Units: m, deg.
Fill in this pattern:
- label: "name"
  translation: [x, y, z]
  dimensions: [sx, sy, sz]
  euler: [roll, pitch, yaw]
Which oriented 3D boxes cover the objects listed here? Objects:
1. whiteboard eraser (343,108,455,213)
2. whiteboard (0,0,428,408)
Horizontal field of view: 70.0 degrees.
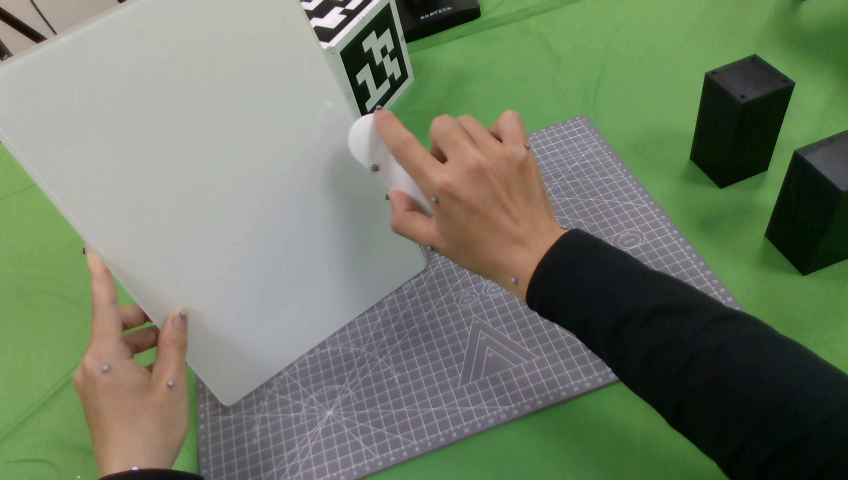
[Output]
- label: "whiteboard eraser"
  translation: [-0.018, -0.060, 0.466]
  dimensions: [0.041, 0.102, 0.018]
  euler: [-50, 22, 1]
- label: "whiteboard"
  translation: [-0.170, -0.057, 0.518]
  dimensions: [0.217, 0.308, 0.142]
  euler: [-35, 32, -15]
